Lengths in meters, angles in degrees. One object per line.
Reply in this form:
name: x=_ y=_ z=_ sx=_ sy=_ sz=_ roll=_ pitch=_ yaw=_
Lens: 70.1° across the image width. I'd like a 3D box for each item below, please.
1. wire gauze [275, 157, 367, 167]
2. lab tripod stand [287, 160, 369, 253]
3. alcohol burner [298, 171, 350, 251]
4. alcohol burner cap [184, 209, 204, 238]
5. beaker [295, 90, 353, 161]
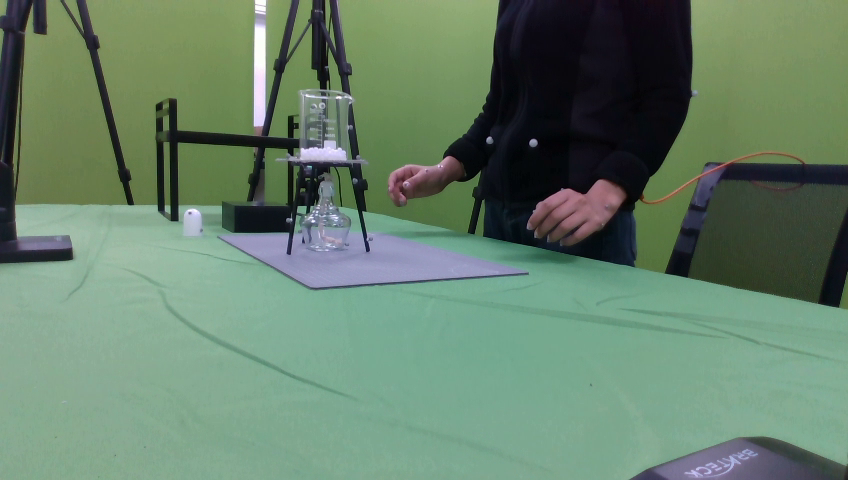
wire gauze: x=-0.148 y=-0.117 z=0.895 sx=0.121 sy=0.011 sz=0.125 roll=3 pitch=5 yaw=-3
lab tripod stand: x=-0.157 y=-0.053 z=0.902 sx=0.148 sy=0.131 sz=0.148 roll=0 pitch=7 yaw=0
alcohol burner: x=-0.149 y=-0.044 z=0.911 sx=0.078 sy=0.119 sz=0.078 roll=2 pitch=6 yaw=0
alcohol burner cap: x=-0.390 y=-0.029 z=1.025 sx=0.034 sy=0.048 sz=0.034 roll=2 pitch=8 yaw=0
beaker: x=-0.146 y=-0.164 z=0.884 sx=0.084 sy=0.100 sz=0.074 roll=1 pitch=7 yaw=-6
